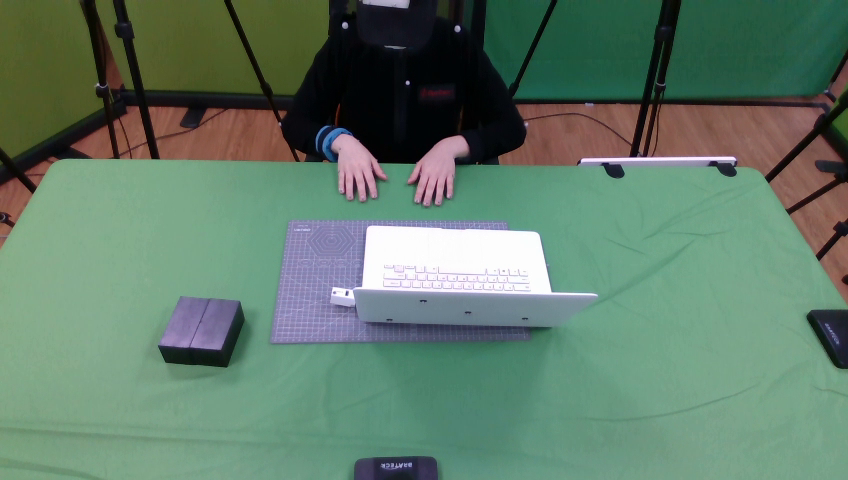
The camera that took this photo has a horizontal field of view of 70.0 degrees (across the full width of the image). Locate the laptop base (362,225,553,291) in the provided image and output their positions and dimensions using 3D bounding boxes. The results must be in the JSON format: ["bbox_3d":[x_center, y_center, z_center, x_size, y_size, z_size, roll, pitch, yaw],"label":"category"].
[{"bbox_3d":[0.061,0.063,1.145,0.354,0.023,0.234,2,43,-3],"label":"laptop base"}]

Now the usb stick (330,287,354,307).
[{"bbox_3d":[-0.135,0.101,1.068,0.059,0.027,0.021,13,43,-9],"label":"usb stick"}]

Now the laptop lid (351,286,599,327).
[{"bbox_3d":[0.068,0.109,0.952,0.357,0.242,0.013,2,71,-4],"label":"laptop lid"}]
